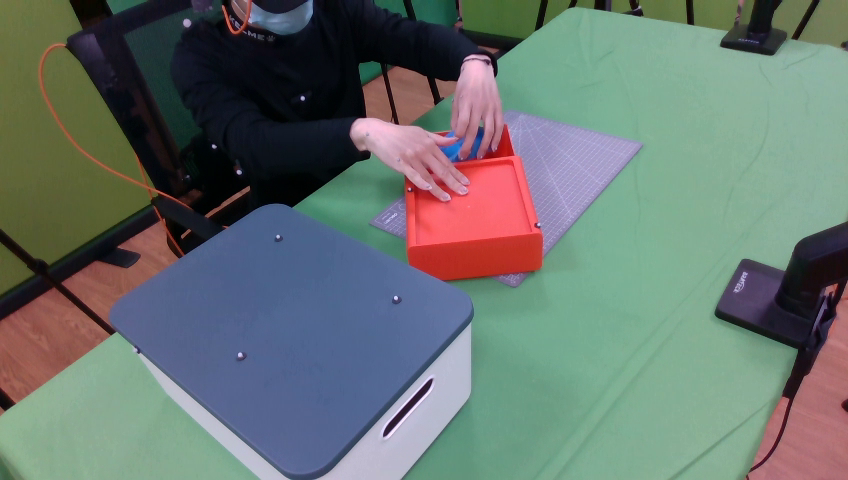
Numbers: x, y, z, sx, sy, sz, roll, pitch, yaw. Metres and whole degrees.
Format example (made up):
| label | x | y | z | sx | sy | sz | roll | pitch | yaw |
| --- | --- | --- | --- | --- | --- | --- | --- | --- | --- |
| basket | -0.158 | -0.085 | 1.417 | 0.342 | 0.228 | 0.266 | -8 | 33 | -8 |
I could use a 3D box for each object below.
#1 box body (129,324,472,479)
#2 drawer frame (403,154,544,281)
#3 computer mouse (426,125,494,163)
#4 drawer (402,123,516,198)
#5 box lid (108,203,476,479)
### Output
| label | x | y | z | sx | sy | sz | roll | pitch | yaw |
| --- | --- | --- | --- | --- | --- | --- | --- | --- | --- |
| box body | -0.147 | 0.136 | 0.726 | 0.361 | 0.161 | 0.255 | 24 | 50 | 32 |
| drawer frame | 0.072 | -0.041 | 0.959 | 0.202 | 0.083 | 0.212 | -6 | 41 | 1 |
| computer mouse | 0.061 | -0.163 | 1.052 | 0.117 | 0.041 | 0.062 | -25 | 43 | -6 |
| drawer | 0.066 | -0.110 | 1.041 | 0.195 | 0.073 | 0.210 | -6 | 41 | -1 |
| box lid | -0.156 | 0.079 | 0.678 | 0.368 | 0.015 | 0.264 | 24 | 49 | 32 |
